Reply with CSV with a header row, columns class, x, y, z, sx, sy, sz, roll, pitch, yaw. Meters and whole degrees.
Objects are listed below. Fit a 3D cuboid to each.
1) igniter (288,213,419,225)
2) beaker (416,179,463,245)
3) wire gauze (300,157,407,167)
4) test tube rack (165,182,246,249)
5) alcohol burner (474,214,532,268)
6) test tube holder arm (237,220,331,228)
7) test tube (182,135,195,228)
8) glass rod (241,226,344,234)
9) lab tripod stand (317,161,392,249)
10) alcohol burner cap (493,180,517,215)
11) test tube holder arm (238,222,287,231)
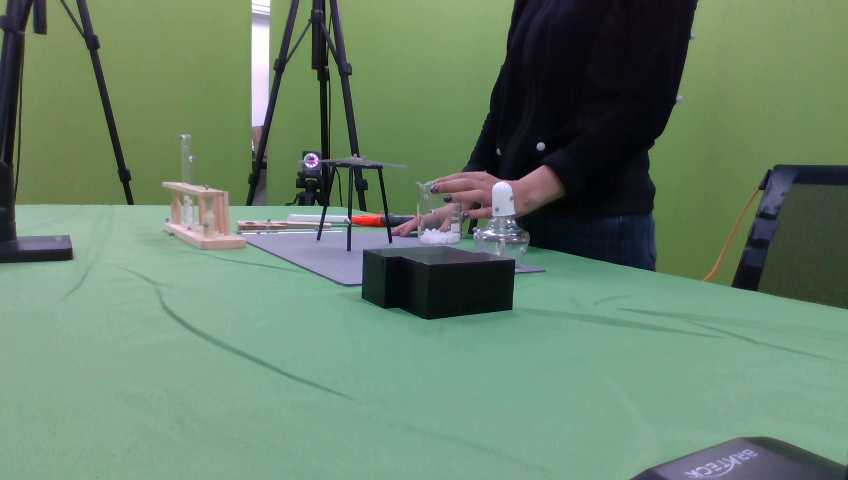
class,x,y,z,sx,sy,sz,roll,pitch,yaw
igniter,-0.145,-0.044,1.278,0.278,0.025,0.057,-1,-2,-21
beaker,0.024,-0.043,0.935,0.073,0.100,0.084,0,4,35
wire gauze,-0.112,-0.126,0.959,0.121,0.011,0.126,11,11,41
test tube rack,-0.360,-0.045,0.982,0.067,0.085,0.241,-3,9,-34
alcohol burner,0.107,-0.022,0.819,0.078,0.119,0.078,1,9,0
test tube holder arm,-0.260,-0.029,1.140,0.179,0.015,0.013,-2,41,-32
test tube,-0.382,-0.095,0.983,0.017,0.150,0.017,-1,2,0
glass rod,-0.239,-0.019,1.119,0.201,0.008,0.008,-3,9,-34
lab tripod stand,-0.111,-0.059,0.964,0.148,0.131,0.148,4,8,0
alcohol burner cap,0.107,-0.057,0.812,0.034,0.048,0.034,-7,11,2
test tube holder arm,-0.296,-0.024,1.112,0.088,0.015,0.010,-2,41,-32
